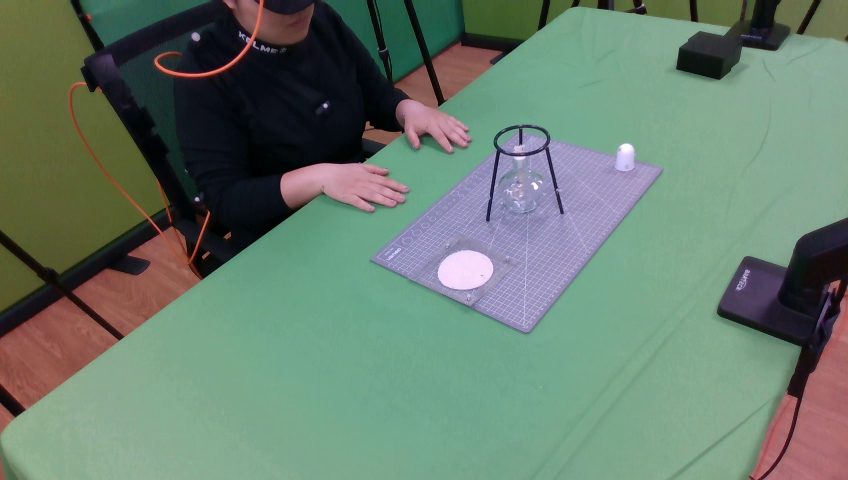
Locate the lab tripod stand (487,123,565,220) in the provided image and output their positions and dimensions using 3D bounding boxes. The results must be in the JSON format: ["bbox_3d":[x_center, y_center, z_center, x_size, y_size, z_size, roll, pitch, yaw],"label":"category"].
[{"bbox_3d":[0.162,-0.110,0.992,0.148,0.132,0.147,-5,42,5],"label":"lab tripod stand"}]

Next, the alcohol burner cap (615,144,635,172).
[{"bbox_3d":[0.357,-0.147,1.069,0.034,0.048,0.033,-6,40,6],"label":"alcohol burner cap"}]

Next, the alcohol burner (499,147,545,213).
[{"bbox_3d":[0.161,-0.104,1.001,0.078,0.120,0.077,-6,42,6],"label":"alcohol burner"}]

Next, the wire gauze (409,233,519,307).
[{"bbox_3d":[0.061,0.045,0.925,0.120,0.011,0.125,25,52,35],"label":"wire gauze"}]
